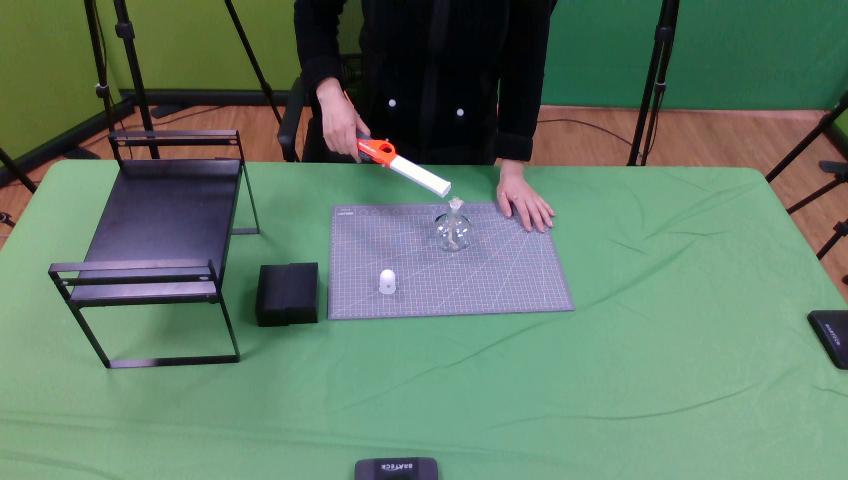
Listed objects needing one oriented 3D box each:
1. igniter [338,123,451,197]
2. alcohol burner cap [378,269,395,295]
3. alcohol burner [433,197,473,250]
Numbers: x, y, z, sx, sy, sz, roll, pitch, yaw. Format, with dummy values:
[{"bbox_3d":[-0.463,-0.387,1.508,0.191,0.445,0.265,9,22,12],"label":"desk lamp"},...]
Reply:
[{"bbox_3d":[-0.064,-0.160,1.179,0.275,0.025,0.057,32,66,23],"label":"igniter"},{"bbox_3d":[-0.068,0.073,1.103,0.034,0.048,0.033,3,45,-3],"label":"alcohol burner cap"},{"bbox_3d":[0.058,-0.038,1.169,0.078,0.119,0.077,3,45,-3],"label":"alcohol burner"}]
